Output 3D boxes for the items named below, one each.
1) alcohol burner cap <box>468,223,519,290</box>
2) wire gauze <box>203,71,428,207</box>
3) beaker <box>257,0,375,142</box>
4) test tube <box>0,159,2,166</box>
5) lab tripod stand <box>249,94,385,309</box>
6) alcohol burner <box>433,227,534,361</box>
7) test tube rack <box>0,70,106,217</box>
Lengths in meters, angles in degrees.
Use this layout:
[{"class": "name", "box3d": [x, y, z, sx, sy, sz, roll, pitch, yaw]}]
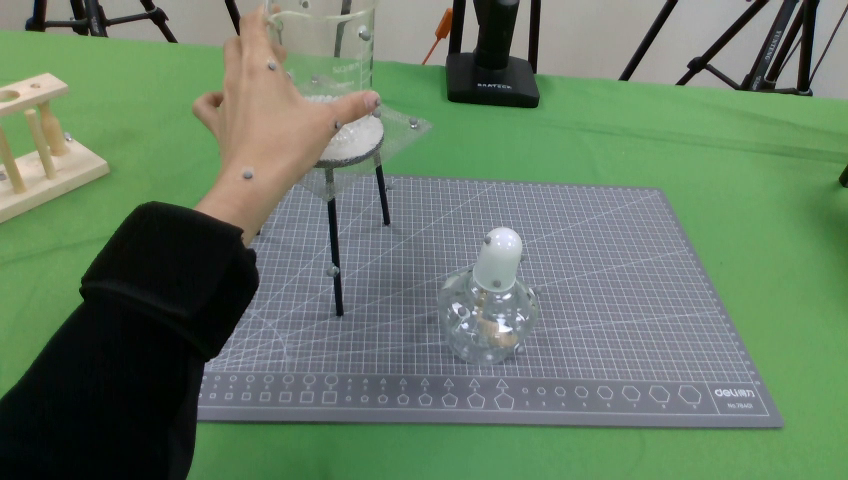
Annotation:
[{"class": "alcohol burner cap", "box3d": [0.051, 0.010, 0.429, 0.034, 0.048, 0.033, 4, 46, -4]}, {"class": "wire gauze", "box3d": [-0.079, -0.086, 0.456, 0.124, 0.011, 0.121, 33, 50, 20]}, {"class": "beaker", "box3d": [-0.076, -0.127, 0.427, 0.073, 0.101, 0.084, 37, 51, 27]}, {"class": "test tube", "box3d": [-0.397, -0.125, 0.515, 0.017, 0.151, 0.017, 2, 40, -1]}, {"class": "lab tripod stand", "box3d": [-0.083, -0.038, 0.500, 0.148, 0.132, 0.147, 6, 43, -5]}, {"class": "alcohol burner", "box3d": [0.047, 0.035, 0.453, 0.078, 0.120, 0.077, 5, 41, -4]}, {"class": "test tube rack", "box3d": [-0.412, -0.056, 0.513, 0.066, 0.086, 0.242, 30, 47, 23]}]
